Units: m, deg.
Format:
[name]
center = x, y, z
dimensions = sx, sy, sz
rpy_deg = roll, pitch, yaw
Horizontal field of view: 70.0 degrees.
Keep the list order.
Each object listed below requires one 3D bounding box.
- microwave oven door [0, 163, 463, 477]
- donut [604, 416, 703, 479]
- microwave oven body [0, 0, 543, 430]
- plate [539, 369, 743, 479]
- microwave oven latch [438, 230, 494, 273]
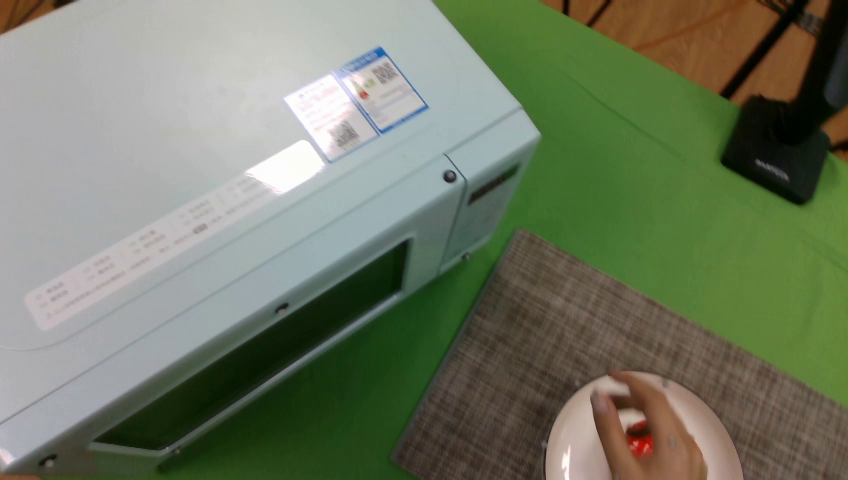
[microwave oven door]
center = -0.130, 0.079, 0.519
dimensions = 0.356, 0.245, 0.039
rpy_deg = -33, 75, -16
[donut]
center = 0.231, 0.229, 0.611
dimensions = 0.099, 0.048, 0.098
rpy_deg = 2, 72, -6
[microwave oven body]
center = -0.181, -0.054, 0.569
dimensions = 0.442, 0.261, 0.324
rpy_deg = -33, 76, -15
[plate]
center = 0.217, 0.238, 0.618
dimensions = 0.209, 0.038, 0.207
rpy_deg = 2, 69, -5
[microwave oven latch]
center = 0.041, 0.003, 0.674
dimensions = 0.079, 0.029, 0.030
rpy_deg = -33, 76, -15
